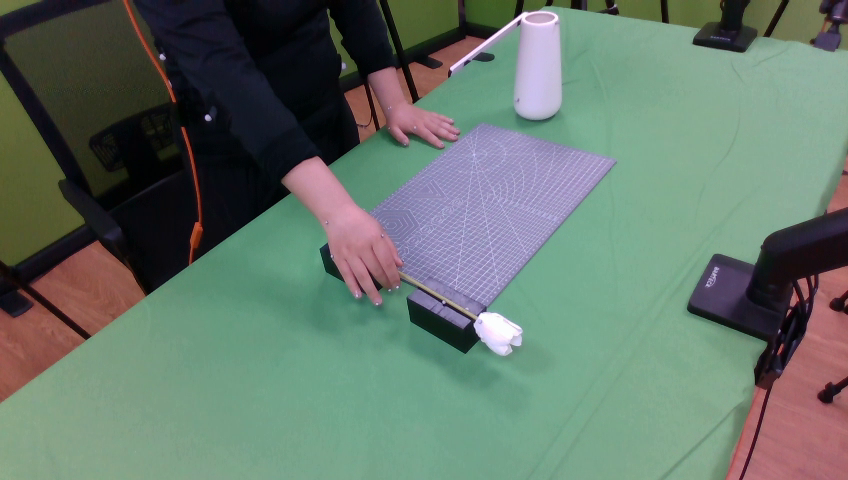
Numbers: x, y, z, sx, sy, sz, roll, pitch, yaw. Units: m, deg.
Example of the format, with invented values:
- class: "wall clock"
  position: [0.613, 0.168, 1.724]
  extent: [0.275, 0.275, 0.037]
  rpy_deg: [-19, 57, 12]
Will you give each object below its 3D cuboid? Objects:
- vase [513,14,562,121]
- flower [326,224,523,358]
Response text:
- class: "vase"
  position: [0.225, -0.336, 1.196]
  extent: [0.098, 0.201, 0.097]
  rpy_deg: [-5, 42, 5]
- class: "flower"
  position: [-0.018, 0.054, 0.836]
  extent: [0.359, 0.038, 0.044]
  rpy_deg: [30, 83, 32]
